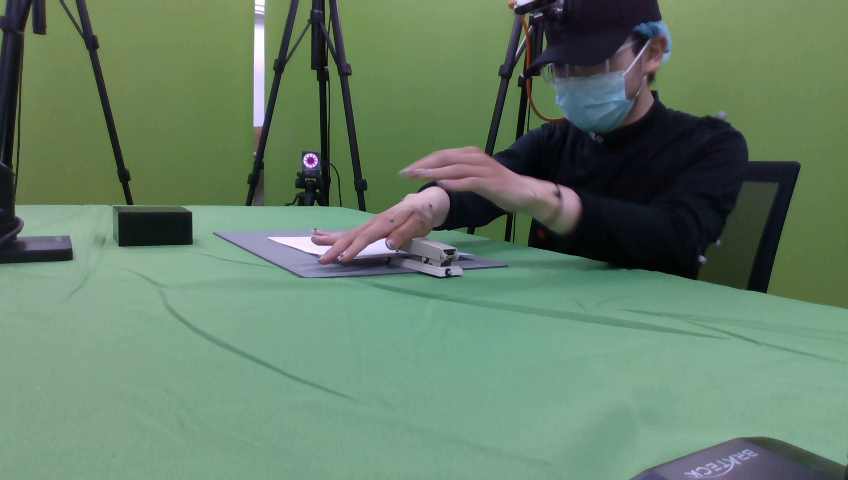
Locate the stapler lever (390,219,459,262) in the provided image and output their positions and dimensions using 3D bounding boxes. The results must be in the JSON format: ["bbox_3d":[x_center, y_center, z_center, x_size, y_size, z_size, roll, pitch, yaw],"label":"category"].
[{"bbox_3d":[-0.002,-0.001,0.785,0.027,0.040,0.117,-7,14,-39],"label":"stapler lever"}]

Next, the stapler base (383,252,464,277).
[{"bbox_3d":[-0.004,0.024,0.790,0.041,0.024,0.130,-7,13,-39],"label":"stapler base"}]
